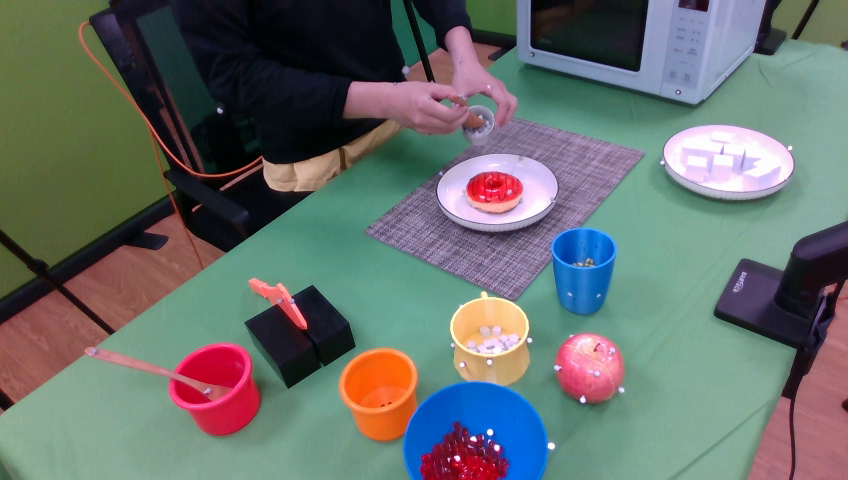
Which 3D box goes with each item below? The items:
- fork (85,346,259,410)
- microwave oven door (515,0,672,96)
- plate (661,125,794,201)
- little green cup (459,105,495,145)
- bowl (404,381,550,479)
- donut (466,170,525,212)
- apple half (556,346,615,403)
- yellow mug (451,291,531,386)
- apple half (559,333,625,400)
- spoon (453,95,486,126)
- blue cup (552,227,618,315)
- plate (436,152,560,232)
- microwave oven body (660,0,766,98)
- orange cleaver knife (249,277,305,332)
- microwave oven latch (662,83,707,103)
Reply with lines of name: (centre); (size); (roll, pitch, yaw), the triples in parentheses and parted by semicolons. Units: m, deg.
fork: (-0.298, 0.166, 0.728); (0.209, 0.018, 0.028); (28, 47, -24)
microwave oven door: (0.344, -0.455, 1.259); (0.353, 0.245, 0.039); (26, 51, 33)
plate: (0.513, -0.128, 1.035); (0.207, 0.039, 0.206); (-4, 40, 4)
little green cup: (0.091, -0.196, 1.042); (0.061, 0.039, 0.061); (-2, 71, 5)
bowl: (0.058, 0.235, 0.645); (0.151, 0.077, 0.150); (-4, 39, 4)
donut: (0.120, -0.083, 1.019); (0.099, 0.048, 0.098); (-4, 39, 4)
apple half: (0.181, 0.167, 0.709); (0.080, 0.081, 0.033); (29, 50, 35)
yellow mug: (0.085, 0.120, 0.786); (0.100, 0.064, 0.130); (-7, 39, 1)
apple half: (0.209, 0.147, 0.730); (0.080, 0.075, 0.053); (26, 48, 38)
spoon: (0.067, -0.205, 0.956); (0.041, 0.021, 0.194); (2, -3, 14)
blue cup: (0.218, 0.047, 0.825); (0.092, 0.100, 0.092); (-6, 39, 5)
plate: (0.125, -0.078, 1.029); (0.209, 0.038, 0.208); (-4, 40, 4)
microwave oven body: (0.472, -0.513, 1.317); (0.438, 0.261, 0.327); (26, 51, 34)
orange cleaver knife: (-0.210, 0.088, 0.855); (0.012, 0.077, 0.210); (-28, 15, -25)
microwave oven latch: (0.517, -0.296, 1.204); (0.078, 0.029, 0.030); (28, 52, 35)
